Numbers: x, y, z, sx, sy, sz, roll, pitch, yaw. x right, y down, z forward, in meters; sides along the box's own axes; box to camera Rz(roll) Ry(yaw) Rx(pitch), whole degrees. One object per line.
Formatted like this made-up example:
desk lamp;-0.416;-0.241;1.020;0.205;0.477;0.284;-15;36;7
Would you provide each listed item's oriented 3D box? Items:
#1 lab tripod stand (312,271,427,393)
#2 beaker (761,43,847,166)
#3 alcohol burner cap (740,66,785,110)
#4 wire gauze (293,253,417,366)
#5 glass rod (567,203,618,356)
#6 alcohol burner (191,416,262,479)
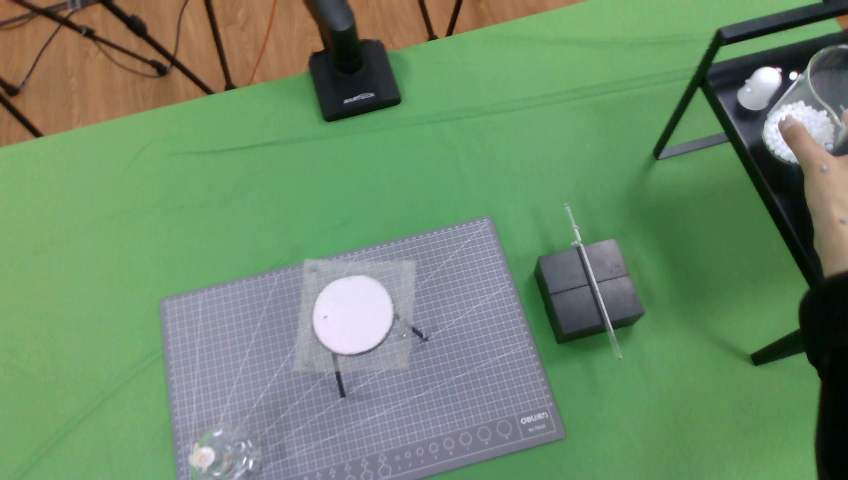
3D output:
lab tripod stand;-0.075;0.097;0.698;0.148;0.132;0.147;-1;68;4
beaker;0.371;-0.119;0.567;0.074;0.101;0.083;12;71;8
alcohol burner cap;0.365;-0.166;0.648;0.034;0.048;0.033;0;66;1
wire gauze;-0.071;0.071;0.636;0.121;0.011;0.124;2;67;3
glass rod;0.201;0.043;0.729;0.008;0.008;0.198;-11;68;-2
alcohol burner;-0.221;0.230;0.659;0.078;0.120;0.077;0;69;1
